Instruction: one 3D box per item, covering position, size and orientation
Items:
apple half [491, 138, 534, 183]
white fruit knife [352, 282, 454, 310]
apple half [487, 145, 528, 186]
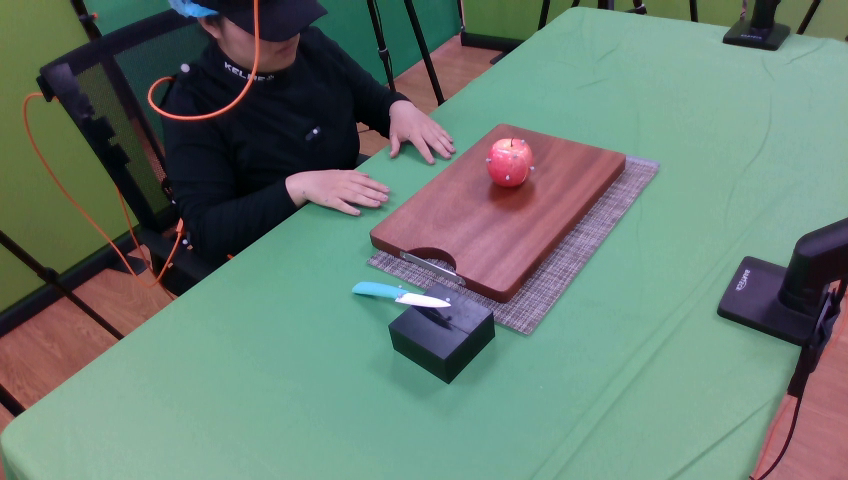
[{"bbox_3d":[0.156,-0.140,1.038,0.080,0.075,0.053,16,42,32],"label":"apple half"},{"bbox_3d":[-0.031,0.079,0.856,0.205,0.016,0.027,6,38,47],"label":"white fruit knife"},{"bbox_3d":[0.134,-0.118,1.014,0.080,0.081,0.033,18,44,29],"label":"apple half"}]
